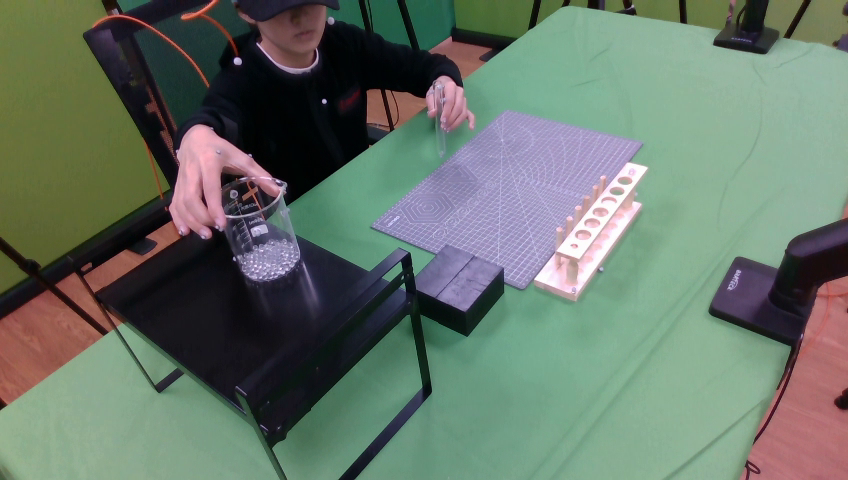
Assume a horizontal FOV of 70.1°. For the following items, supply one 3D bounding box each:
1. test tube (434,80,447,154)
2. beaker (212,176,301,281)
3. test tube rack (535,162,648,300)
[{"bbox_3d":[0.030,-0.211,1.059,0.017,0.151,0.017,-3,46,3],"label":"test tube"},{"bbox_3d":[-0.181,-0.011,0.679,0.084,0.101,0.073,-30,45,-24],"label":"beaker"},{"bbox_3d":[0.257,-0.024,0.916,0.066,0.085,0.243,22,49,30],"label":"test tube rack"}]
